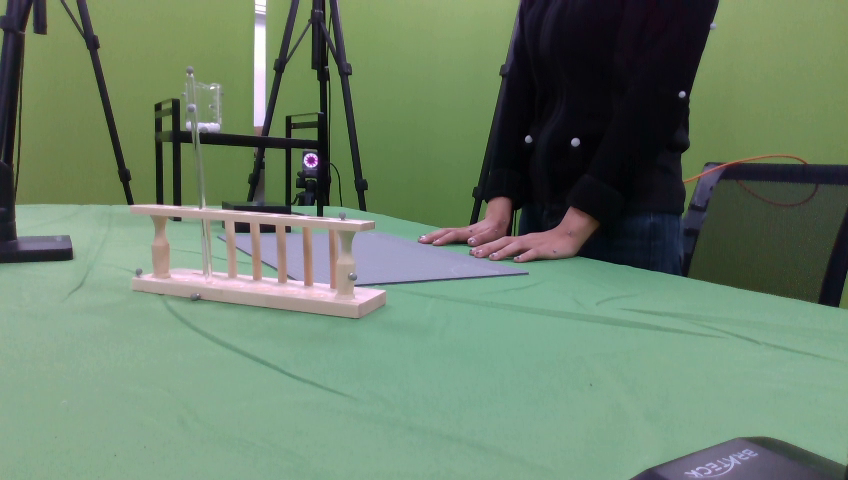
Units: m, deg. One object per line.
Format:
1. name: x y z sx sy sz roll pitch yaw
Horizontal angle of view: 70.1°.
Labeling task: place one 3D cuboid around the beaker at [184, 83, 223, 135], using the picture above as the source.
1. beaker: -0.456 -0.271 1.256 0.074 0.100 0.083 -3 9 -33

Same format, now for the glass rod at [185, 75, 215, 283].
1. glass rod: -0.210 -0.052 0.568 0.008 0.199 0.008 -1 15 1

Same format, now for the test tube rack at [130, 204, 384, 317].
1. test tube rack: -0.163 0.013 0.589 0.242 0.085 0.067 4 8 17
